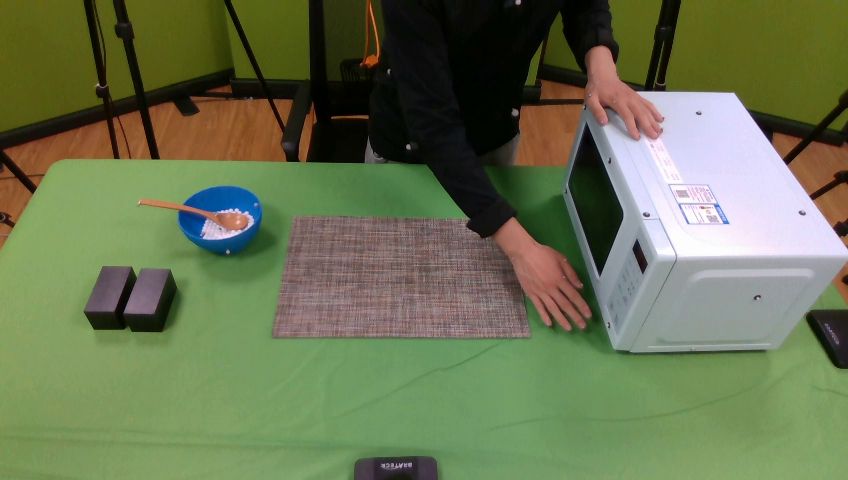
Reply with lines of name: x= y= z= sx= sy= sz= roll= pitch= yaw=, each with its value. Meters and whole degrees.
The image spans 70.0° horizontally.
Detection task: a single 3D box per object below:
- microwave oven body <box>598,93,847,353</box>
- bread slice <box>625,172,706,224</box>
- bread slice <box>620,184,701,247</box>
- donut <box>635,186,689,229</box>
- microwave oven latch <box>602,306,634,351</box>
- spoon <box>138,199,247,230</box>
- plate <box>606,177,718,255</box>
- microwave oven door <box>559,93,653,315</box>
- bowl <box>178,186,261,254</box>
microwave oven body: x=0.476 y=-0.042 z=1.109 sx=0.326 sy=0.261 sz=0.438 roll=-1 pitch=45 yaw=-4
bread slice: x=0.462 y=-0.080 z=1.139 sx=0.105 sy=0.019 sz=0.131 roll=-31 pitch=53 yaw=-34
bread slice: x=0.462 y=-0.043 z=1.170 sx=0.134 sy=0.018 sz=0.107 roll=32 pitch=60 yaw=20
donut: x=0.454 y=-0.062 z=1.159 sx=0.099 sy=0.048 sz=0.098 roll=-2 pitch=47 yaw=2
microwave oven latch: x=0.332 y=0.153 z=1.044 sx=0.030 sy=0.029 sz=0.078 roll=0 pitch=45 yaw=-4
spoon: x=-0.431 y=-0.053 z=1.135 sx=0.194 sy=0.022 sz=0.041 roll=15 pitch=49 yaw=-20
plate: x=0.456 y=-0.043 z=1.180 sx=0.208 sy=0.039 sz=0.206 roll=1 pitch=46 yaw=0
microwave oven door: x=0.327 y=-0.074 z=1.123 sx=0.039 sy=0.245 sz=0.353 roll=-1 pitch=46 yaw=-5
bowl: x=-0.383 y=-0.026 z=1.158 sx=0.151 sy=0.077 sz=0.150 roll=2 pitch=46 yaw=-2
